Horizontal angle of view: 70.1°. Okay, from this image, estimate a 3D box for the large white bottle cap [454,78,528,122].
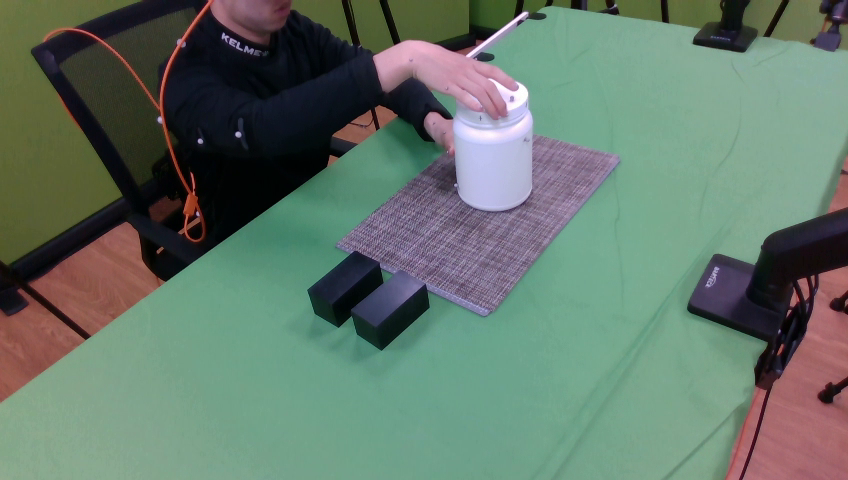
[{"bbox_3d":[0.104,-0.220,0.945,0.115,0.018,0.114,-4,41,4],"label":"large white bottle cap"}]

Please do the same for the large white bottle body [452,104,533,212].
[{"bbox_3d":[0.115,-0.154,1.001,0.130,0.185,0.130,-4,41,4],"label":"large white bottle body"}]
